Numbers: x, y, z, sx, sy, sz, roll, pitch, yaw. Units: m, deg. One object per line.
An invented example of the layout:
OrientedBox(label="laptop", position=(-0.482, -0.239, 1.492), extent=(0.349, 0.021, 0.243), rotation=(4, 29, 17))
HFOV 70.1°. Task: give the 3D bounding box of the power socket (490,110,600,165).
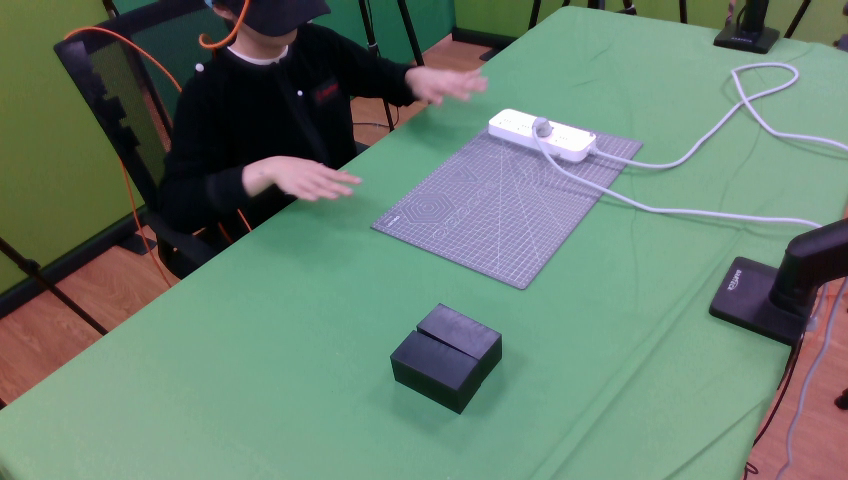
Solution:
OrientedBox(label="power socket", position=(0.226, -0.201, 1.166), extent=(0.225, 0.033, 0.072), rotation=(26, 53, 33))

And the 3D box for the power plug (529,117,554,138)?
OrientedBox(label="power plug", position=(0.212, -0.201, 1.131), extent=(0.073, 0.053, 0.035), rotation=(-29, 44, -25))
